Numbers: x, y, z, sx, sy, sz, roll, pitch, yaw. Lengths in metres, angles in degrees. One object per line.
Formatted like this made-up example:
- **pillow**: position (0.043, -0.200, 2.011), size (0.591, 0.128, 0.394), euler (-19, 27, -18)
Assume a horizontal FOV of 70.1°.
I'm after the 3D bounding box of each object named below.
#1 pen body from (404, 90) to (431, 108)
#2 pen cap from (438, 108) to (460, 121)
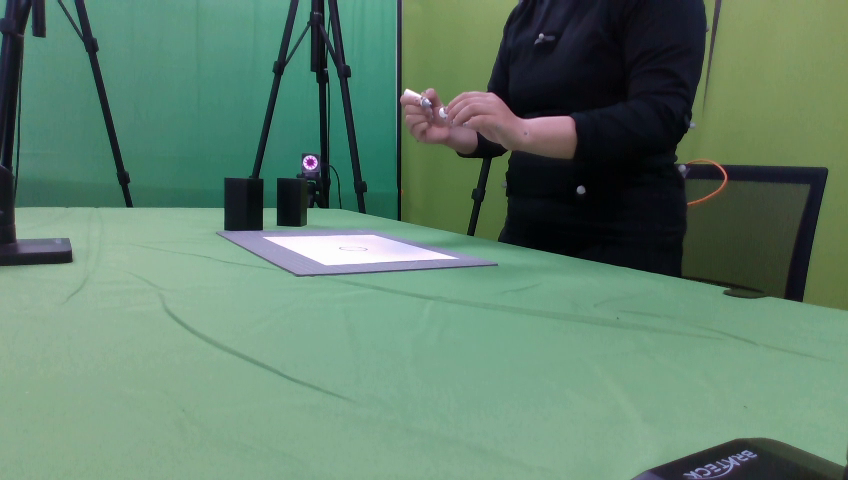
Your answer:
- **pen body**: position (-0.011, -0.255, 1.098), size (0.017, 0.017, 0.143), euler (0, 21, -19)
- **pen cap**: position (0.041, -0.205, 0.991), size (0.038, 0.017, 0.017), euler (22, 18, 40)
